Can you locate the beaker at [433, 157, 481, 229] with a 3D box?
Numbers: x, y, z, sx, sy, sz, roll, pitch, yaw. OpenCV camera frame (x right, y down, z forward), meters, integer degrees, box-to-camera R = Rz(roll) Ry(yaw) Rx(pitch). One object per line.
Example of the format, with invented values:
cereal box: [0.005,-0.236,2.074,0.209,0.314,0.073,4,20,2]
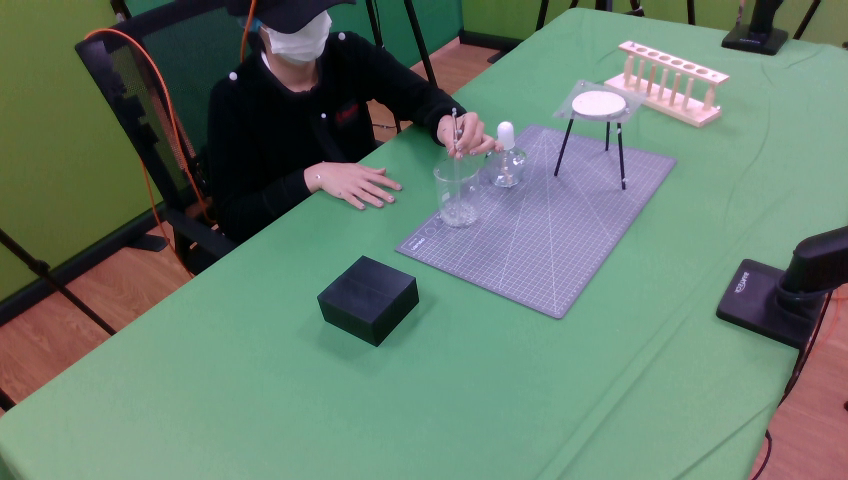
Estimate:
beaker: [0.058,-0.077,0.994,0.073,0.101,0.084,19,46,28]

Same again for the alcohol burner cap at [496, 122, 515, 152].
alcohol burner cap: [0.139,-0.179,1.037,0.034,0.048,0.033,-4,44,4]

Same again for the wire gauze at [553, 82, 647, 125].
wire gauze: [0.293,-0.225,1.002,0.120,0.011,0.125,17,45,27]

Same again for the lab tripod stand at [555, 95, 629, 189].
lab tripod stand: [0.300,-0.174,1.045,0.148,0.132,0.147,-5,38,5]

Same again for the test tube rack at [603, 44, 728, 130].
test tube rack: [0.480,-0.316,1.227,0.067,0.085,0.240,-28,44,-22]

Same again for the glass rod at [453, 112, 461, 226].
glass rod: [0.053,-0.106,0.948,0.008,0.200,0.008,-3,34,3]

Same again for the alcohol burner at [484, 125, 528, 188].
alcohol burner: [0.144,-0.152,1.059,0.078,0.119,0.077,-3,41,3]
